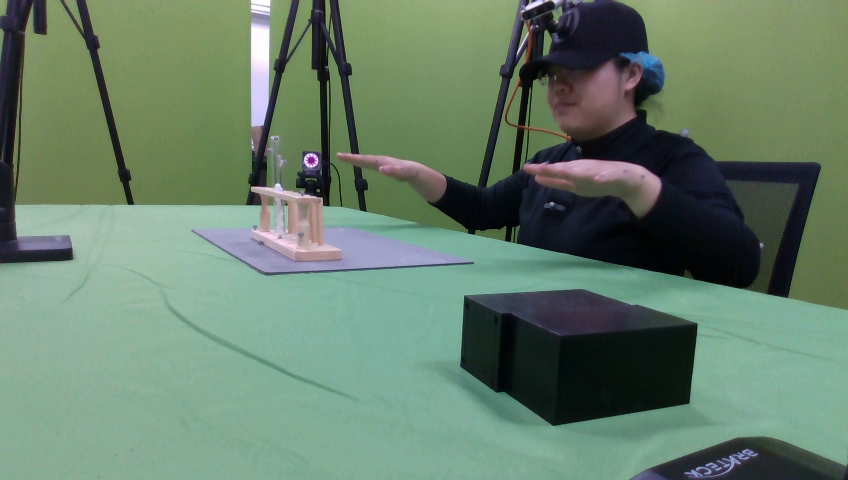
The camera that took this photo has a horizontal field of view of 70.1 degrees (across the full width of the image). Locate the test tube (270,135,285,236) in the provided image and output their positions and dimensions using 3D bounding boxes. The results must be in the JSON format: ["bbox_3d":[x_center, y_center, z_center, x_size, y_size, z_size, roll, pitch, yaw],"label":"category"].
[{"bbox_3d":[-0.218,-0.081,0.904,0.017,0.150,0.017,-2,4,0],"label":"test tube"}]

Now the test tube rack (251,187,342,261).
[{"bbox_3d":[-0.196,-0.030,0.902,0.067,0.085,0.241,-1,8,-29],"label":"test tube rack"}]
